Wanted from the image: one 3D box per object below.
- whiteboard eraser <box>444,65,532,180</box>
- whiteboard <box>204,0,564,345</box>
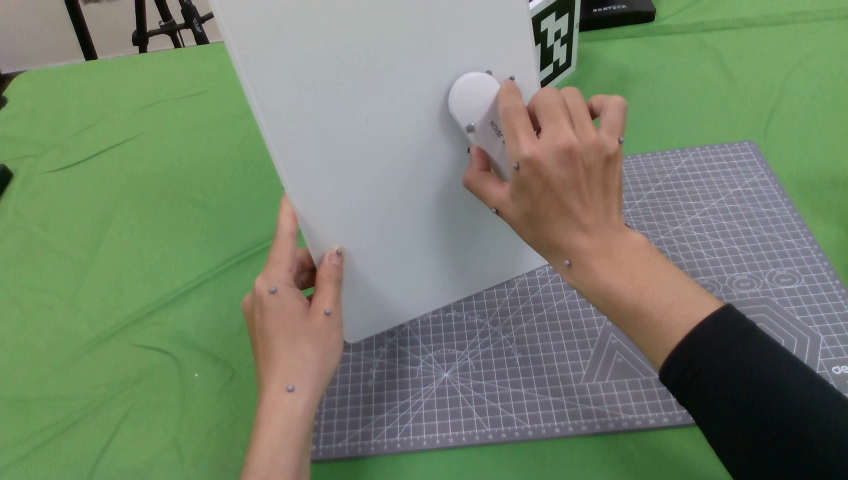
[{"bbox_3d":[0.051,-0.090,0.471,0.041,0.102,0.018,-40,32,-4],"label":"whiteboard eraser"},{"bbox_3d":[-0.027,-0.104,0.523,0.217,0.308,0.142,-21,30,-9],"label":"whiteboard"}]
